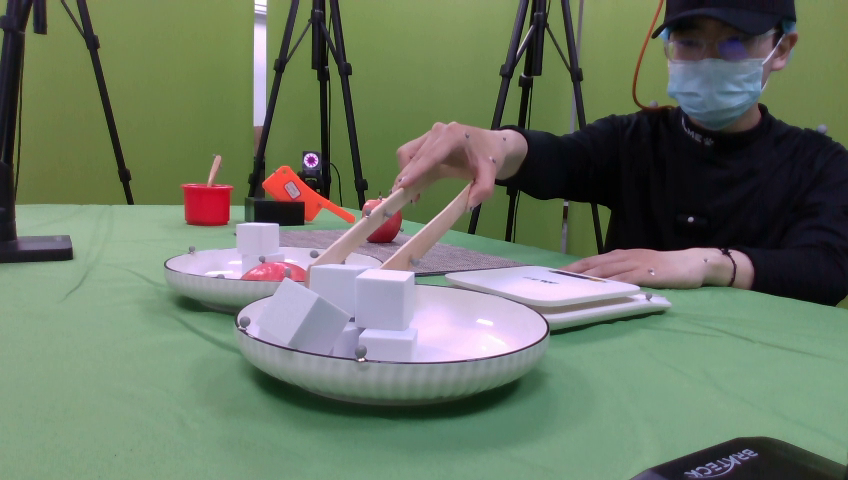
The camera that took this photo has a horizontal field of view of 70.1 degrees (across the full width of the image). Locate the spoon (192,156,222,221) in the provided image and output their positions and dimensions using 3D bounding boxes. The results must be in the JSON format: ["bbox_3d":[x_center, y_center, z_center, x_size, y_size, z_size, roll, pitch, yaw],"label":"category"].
[{"bbox_3d":[-0.430,-0.108,1.222,0.041,0.021,0.193,-1,52,0],"label":"spoon"}]

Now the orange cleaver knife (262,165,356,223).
[{"bbox_3d":[-0.243,-0.081,1.292,0.212,0.077,0.012,34,-8,-26],"label":"orange cleaver knife"}]

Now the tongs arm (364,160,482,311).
[{"bbox_3d":[0.014,-0.024,0.595,0.028,0.028,0.388,9,22,14],"label":"tongs arm"}]

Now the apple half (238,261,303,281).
[{"bbox_3d":[-0.141,0.036,0.578,0.081,0.033,0.081,2,11,0],"label":"apple half"}]

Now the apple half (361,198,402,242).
[{"bbox_3d":[-0.066,-0.032,1.014,0.053,0.074,0.081,9,6,21],"label":"apple half"}]

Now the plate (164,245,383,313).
[{"bbox_3d":[-0.145,0.038,0.600,0.209,0.038,0.209,2,8,0],"label":"plate"}]

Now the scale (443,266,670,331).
[{"bbox_3d":[0.131,0.052,0.603,0.202,0.031,0.148,-2,9,-37],"label":"scale"}]

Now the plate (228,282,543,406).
[{"bbox_3d":[-0.025,0.067,0.413,0.208,0.039,0.207,3,7,0],"label":"plate"}]

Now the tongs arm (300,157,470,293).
[{"bbox_3d":[-0.016,-0.032,0.602,0.050,0.026,0.385,12,22,11],"label":"tongs arm"}]
